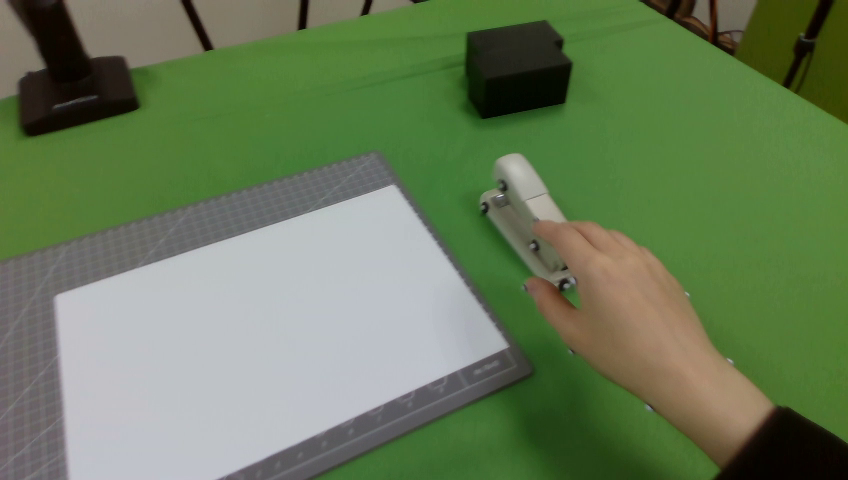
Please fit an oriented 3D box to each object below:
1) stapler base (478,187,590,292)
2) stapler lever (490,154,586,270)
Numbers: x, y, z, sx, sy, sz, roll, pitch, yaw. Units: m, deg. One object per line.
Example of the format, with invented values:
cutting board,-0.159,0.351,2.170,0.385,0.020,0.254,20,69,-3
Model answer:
stapler base,0.093,-0.011,0.529,0.041,0.024,0.129,-22,51,-16
stapler lever,0.094,-0.028,0.510,0.027,0.040,0.116,-22,51,-16
